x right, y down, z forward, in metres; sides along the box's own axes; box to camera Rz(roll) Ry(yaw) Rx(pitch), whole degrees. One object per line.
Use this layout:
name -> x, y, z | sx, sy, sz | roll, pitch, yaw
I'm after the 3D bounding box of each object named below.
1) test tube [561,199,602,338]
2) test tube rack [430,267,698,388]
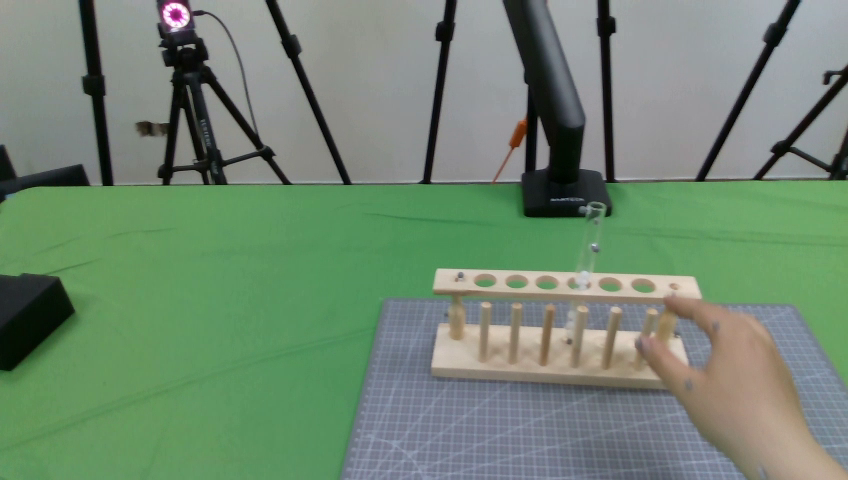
test tube -> 0.146, 0.031, 0.565 | 0.017, 0.151, 0.017 | 1, 31, 0
test tube rack -> 0.128, 0.082, 0.580 | 0.242, 0.086, 0.066 | 2, 34, 7
